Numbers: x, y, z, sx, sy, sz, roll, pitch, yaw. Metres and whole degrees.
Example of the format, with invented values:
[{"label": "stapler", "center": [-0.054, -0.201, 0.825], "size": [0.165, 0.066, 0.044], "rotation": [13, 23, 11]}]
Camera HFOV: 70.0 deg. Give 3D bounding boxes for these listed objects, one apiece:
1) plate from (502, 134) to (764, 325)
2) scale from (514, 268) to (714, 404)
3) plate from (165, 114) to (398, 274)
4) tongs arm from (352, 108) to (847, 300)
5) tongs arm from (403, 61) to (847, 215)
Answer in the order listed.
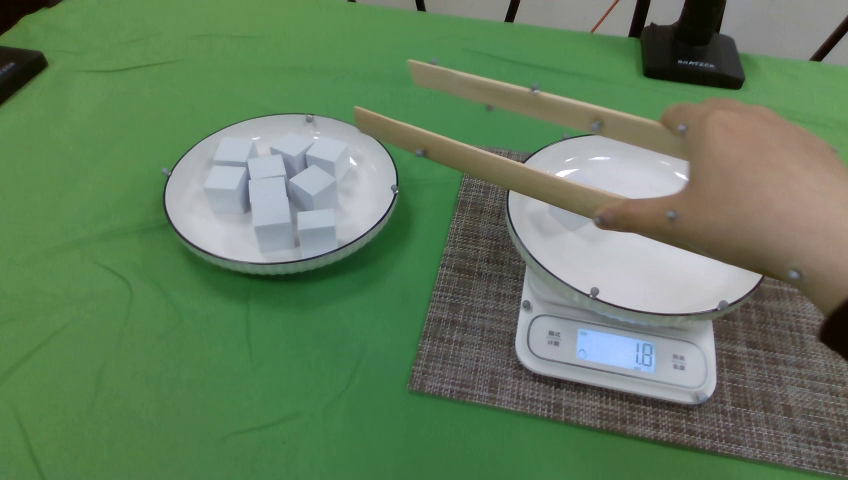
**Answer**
[{"label": "plate", "center": [0.166, -0.011, 0.500], "size": [0.208, 0.039, 0.205], "rotation": [2, 47, -2]}, {"label": "scale", "center": [0.160, 0.032, 0.505], "size": [0.148, 0.032, 0.199], "rotation": [10, 48, 8]}, {"label": "plate", "center": [-0.127, -0.043, 0.564], "size": [0.209, 0.038, 0.207], "rotation": [2, 47, -1]}, {"label": "tongs arm", "center": [0.104, -0.031, 0.376], "size": [0.384, 0.028, 0.028], "rotation": [22, 54, 29]}, {"label": "tongs arm", "center": [0.128, -0.058, 0.393], "size": [0.381, 0.027, 0.050], "rotation": [22, 58, 29]}]
